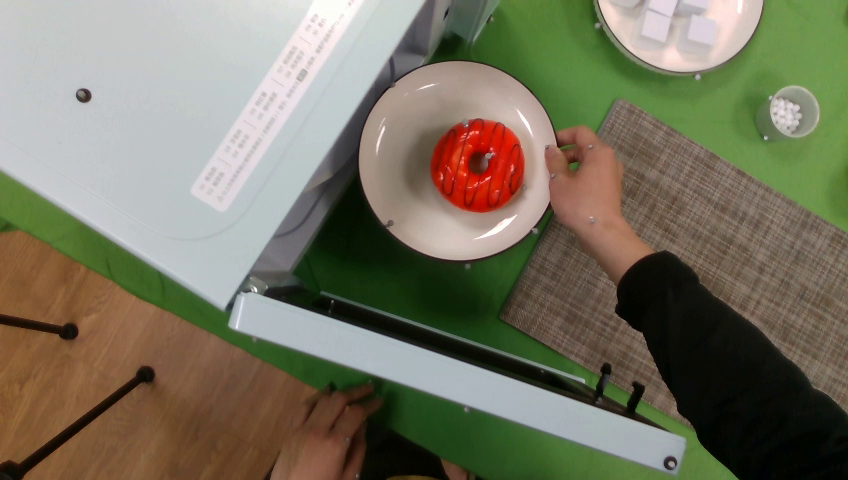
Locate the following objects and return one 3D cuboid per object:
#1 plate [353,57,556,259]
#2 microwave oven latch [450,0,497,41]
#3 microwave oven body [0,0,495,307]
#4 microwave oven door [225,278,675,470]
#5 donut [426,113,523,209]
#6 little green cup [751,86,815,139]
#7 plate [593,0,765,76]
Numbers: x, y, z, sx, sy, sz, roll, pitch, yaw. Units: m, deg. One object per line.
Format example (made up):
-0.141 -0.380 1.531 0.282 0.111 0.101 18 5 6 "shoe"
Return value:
0.031 -0.084 0.630 0.209 0.038 0.209 0 87 -2 "plate"
0.062 -0.266 0.684 0.030 0.029 0.079 37 86 -3 "microwave oven latch"
-0.151 -0.202 0.569 0.326 0.260 0.441 33 87 -3 "microwave oven body"
0.017 0.111 0.566 0.356 0.244 0.039 19 86 -3 "microwave oven door"
0.052 -0.080 0.620 0.099 0.048 0.099 0 92 2 "donut"
0.428 -0.150 0.728 0.061 0.038 0.061 0 87 -4 "little green cup"
0.298 -0.294 0.722 0.208 0.039 0.207 0 88 -5 "plate"
